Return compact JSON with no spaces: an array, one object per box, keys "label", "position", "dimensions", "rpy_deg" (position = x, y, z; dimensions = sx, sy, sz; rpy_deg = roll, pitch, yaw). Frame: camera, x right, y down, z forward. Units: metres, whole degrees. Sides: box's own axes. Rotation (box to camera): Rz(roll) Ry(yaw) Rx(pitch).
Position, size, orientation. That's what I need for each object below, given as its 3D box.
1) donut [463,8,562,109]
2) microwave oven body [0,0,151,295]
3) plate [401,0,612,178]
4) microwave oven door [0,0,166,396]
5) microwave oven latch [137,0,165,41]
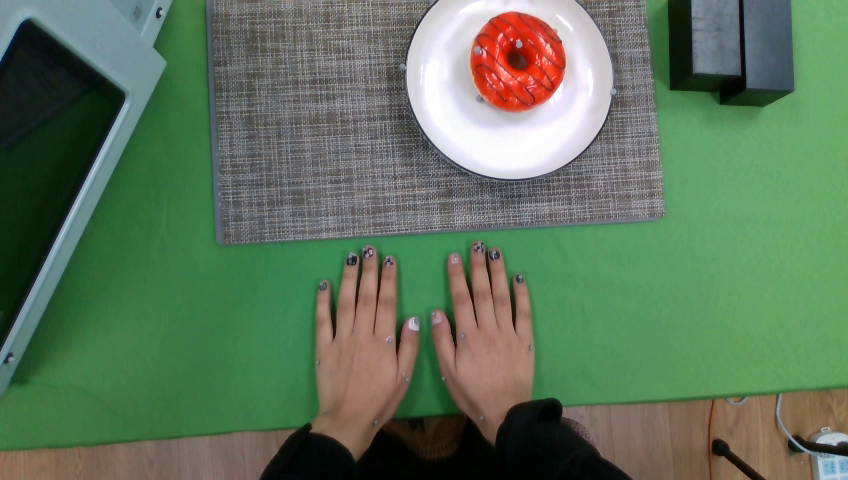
[{"label":"donut","position":[0.087,-0.178,0.599],"dimensions":[0.099,0.048,0.099],"rpy_deg":[0,88,-6]},{"label":"microwave oven body","position":[-0.460,-0.124,0.458],"dimensions":[0.326,0.260,0.441],"rpy_deg":[21,86,-3]},{"label":"plate","position":[0.081,-0.162,0.609],"dimensions":[0.209,0.038,0.208],"rpy_deg":[0,86,-4]},{"label":"microwave oven door","position":[-0.328,-0.030,0.456],"dimensions":[0.039,0.244,0.355],"rpy_deg":[24,85,-1]},{"label":"microwave oven latch","position":[-0.265,-0.229,0.576],"dimensions":[0.030,0.029,0.079],"rpy_deg":[21,86,-3]}]
